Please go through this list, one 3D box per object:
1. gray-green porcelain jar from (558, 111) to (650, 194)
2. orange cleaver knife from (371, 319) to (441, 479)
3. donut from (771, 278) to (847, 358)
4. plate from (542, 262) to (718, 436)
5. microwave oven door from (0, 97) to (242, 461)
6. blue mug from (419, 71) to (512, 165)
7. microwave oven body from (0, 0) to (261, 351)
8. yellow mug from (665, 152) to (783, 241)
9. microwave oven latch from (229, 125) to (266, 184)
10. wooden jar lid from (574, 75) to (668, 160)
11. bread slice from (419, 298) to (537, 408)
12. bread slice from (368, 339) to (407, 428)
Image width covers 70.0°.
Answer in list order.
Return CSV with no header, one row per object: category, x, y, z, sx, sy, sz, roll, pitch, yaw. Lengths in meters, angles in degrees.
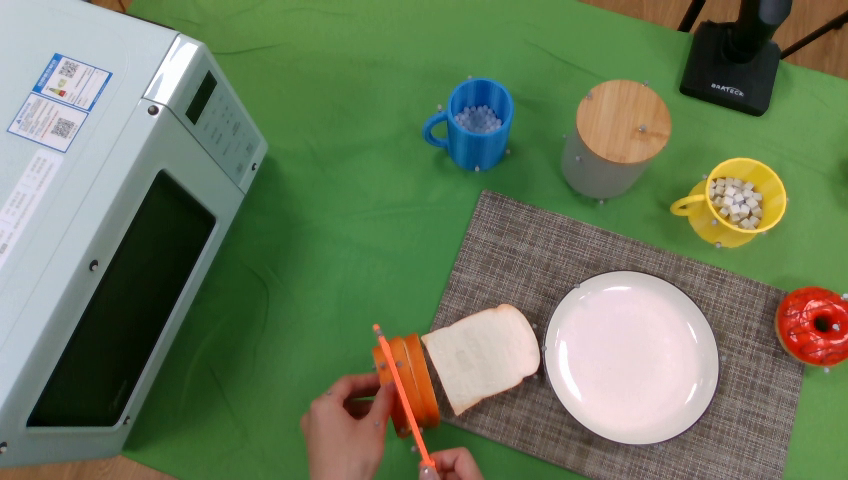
gray-green porcelain jar,0.230,-0.124,0.767,0.106,0.127,0.105,0,74,1
orange cleaver knife,-0.012,0.177,0.590,0.012,0.077,0.211,-21,91,-10
donut,0.476,0.096,0.740,0.099,0.048,0.098,0,75,2
plate,0.245,0.131,0.739,0.207,0.039,0.206,0,75,2
microwave oven door,-0.322,0.054,0.651,0.039,0.245,0.354,20,76,7
blue mug,0.051,-0.154,0.790,0.116,0.106,0.082,-6,74,0
microwave oven body,-0.442,-0.032,0.682,0.325,0.261,0.440,20,76,6
yellow mug,0.378,-0.054,0.776,0.131,0.064,0.099,-4,75,1
microwave oven latch,-0.237,-0.116,0.801,0.030,0.029,0.079,23,77,7
wooden jar lid,0.228,-0.141,0.707,0.108,0.021,0.107,0,72,1
bread slice,0.072,0.133,0.746,0.131,0.019,0.104,-23,75,-1
bread slice,-0.043,0.161,0.694,0.018,0.135,0.106,-17,75,-7
